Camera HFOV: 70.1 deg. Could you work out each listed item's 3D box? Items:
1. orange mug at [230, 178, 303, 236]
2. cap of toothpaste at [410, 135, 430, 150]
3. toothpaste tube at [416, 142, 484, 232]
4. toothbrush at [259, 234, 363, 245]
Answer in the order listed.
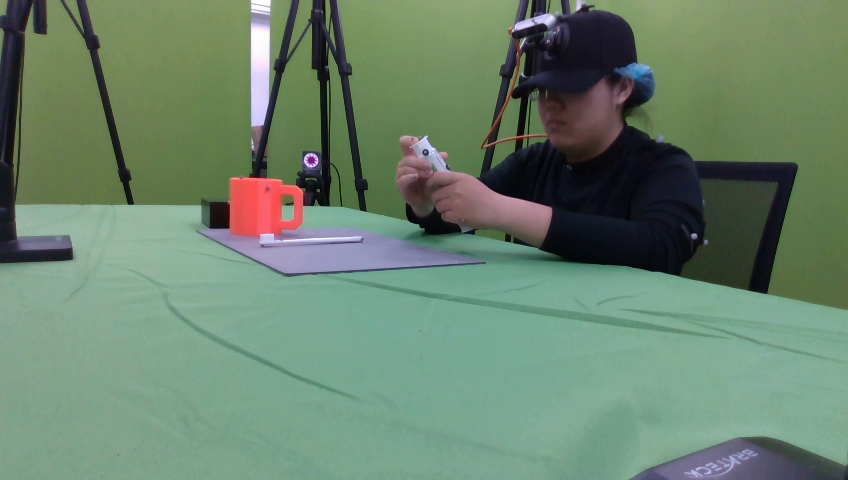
[{"bbox_3d":[-0.275,-0.060,1.058,0.126,0.101,0.083,-2,8,-5],"label":"orange mug"},{"bbox_3d":[-0.005,-0.153,0.951,0.037,0.011,0.037,-31,12,8],"label":"cap of toothpaste"},{"bbox_3d":[0.038,-0.087,0.963,0.034,0.165,0.055,-39,12,-28],"label":"toothpaste tube"},{"bbox_3d":[-0.175,-0.002,0.958,0.183,0.016,0.014,-1,-4,-39],"label":"toothbrush"}]
